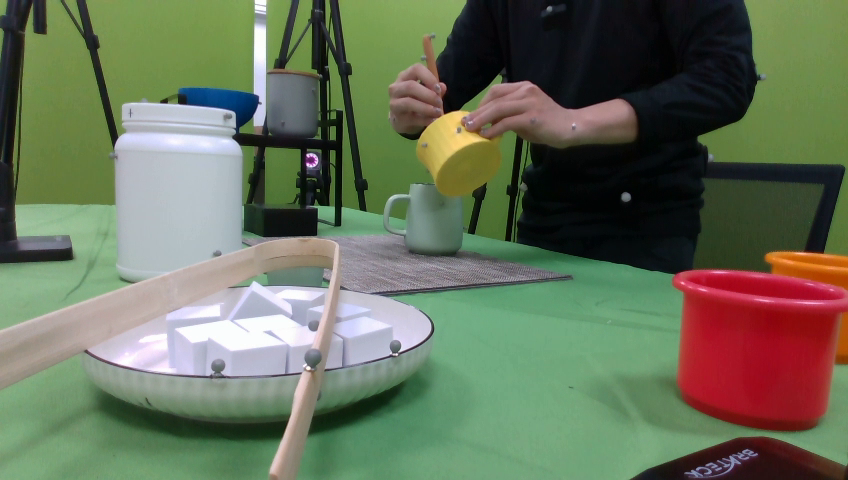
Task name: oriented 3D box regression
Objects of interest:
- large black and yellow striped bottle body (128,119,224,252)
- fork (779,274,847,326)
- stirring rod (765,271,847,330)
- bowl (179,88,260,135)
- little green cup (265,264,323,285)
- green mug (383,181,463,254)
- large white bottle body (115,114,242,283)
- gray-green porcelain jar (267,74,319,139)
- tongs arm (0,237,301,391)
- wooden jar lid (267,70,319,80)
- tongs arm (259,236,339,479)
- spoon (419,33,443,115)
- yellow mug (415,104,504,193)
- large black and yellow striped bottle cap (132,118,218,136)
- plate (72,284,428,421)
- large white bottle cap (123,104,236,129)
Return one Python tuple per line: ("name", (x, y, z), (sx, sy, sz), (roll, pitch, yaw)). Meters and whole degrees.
("large black and yellow striped bottle body", (-0.361, -0.081, 0.887), (0.131, 0.184, 0.130), (2, 8, 0))
("fork", (0.332, 0.019, 0.443), (0.028, 0.018, 0.207), (-3, -35, -16))
("stirring rod", (0.352, 0.020, 0.481), (0.176, 0.006, 0.014), (-40, -8, 17))
("bowl", (-0.400, -0.248, 1.188), (0.151, 0.077, 0.151), (2, 6, 0))
("little green cup", (-0.134, 0.034, 0.628), (0.061, 0.038, 0.061), (3, 7, 0))
("green mug", (-0.001, -0.036, 0.921), (0.126, 0.105, 0.092), (0, 8, -16))
("large white bottle body", (-0.270, -0.051, 0.673), (0.131, 0.184, 0.130), (2, 8, 0))
("gray-green porcelain jar", (-0.277, -0.279, 1.280), (0.106, 0.126, 0.106), (2, 8, 0))
("tongs arm", (-0.158, 0.038, 0.346), (0.028, 0.028, 0.388), (-2, 8, 11))
("wooden jar lid", (-0.275, -0.339, 1.271), (0.108, 0.020, 0.108), (5, 6, 0))
("tongs arm", (-0.074, 0.040, 0.345), (0.051, 0.026, 0.384), (-1, 9, -3))
("spoon", (0.017, -0.187, 0.831), (0.041, 0.193, 0.022), (-11, 1, 25))
("yellow mug", (0.056, -0.132, 0.822), (0.100, 0.130, 0.063), (19, 34, -51))
("large black and yellow striped bottle cap", (-0.359, -0.164, 0.875), (0.115, 0.019, 0.115), (2, 6, 0))
("plate", (-0.102, 0.067, 0.381), (0.208, 0.039, 0.207), (2, 7, 0))
("large white bottle cap", (-0.266, -0.135, 0.663), (0.115, 0.018, 0.115), (3, 7, 0))
